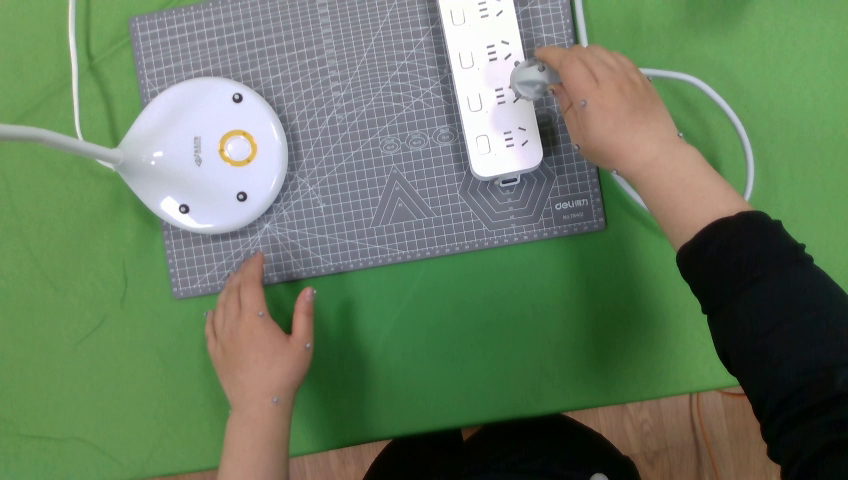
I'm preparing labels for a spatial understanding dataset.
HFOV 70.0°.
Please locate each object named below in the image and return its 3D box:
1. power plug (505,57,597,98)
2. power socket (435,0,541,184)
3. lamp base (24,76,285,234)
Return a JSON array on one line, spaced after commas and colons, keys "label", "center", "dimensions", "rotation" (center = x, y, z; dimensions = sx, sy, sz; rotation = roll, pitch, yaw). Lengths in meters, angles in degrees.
[{"label": "power plug", "center": [0.108, -0.139, 0.540], "dimensions": [0.073, 0.052, 0.035], "rotation": [15, 85, -14]}, {"label": "power socket", "center": [0.061, -0.169, 0.592], "dimensions": [0.072, 0.032, 0.226], "rotation": [-12, 90, 3]}, {"label": "lamp base", "center": [-0.238, -0.083, 0.540], "dimensions": [0.179, 0.180, 0.160], "rotation": [-15, 89, 7]}]
